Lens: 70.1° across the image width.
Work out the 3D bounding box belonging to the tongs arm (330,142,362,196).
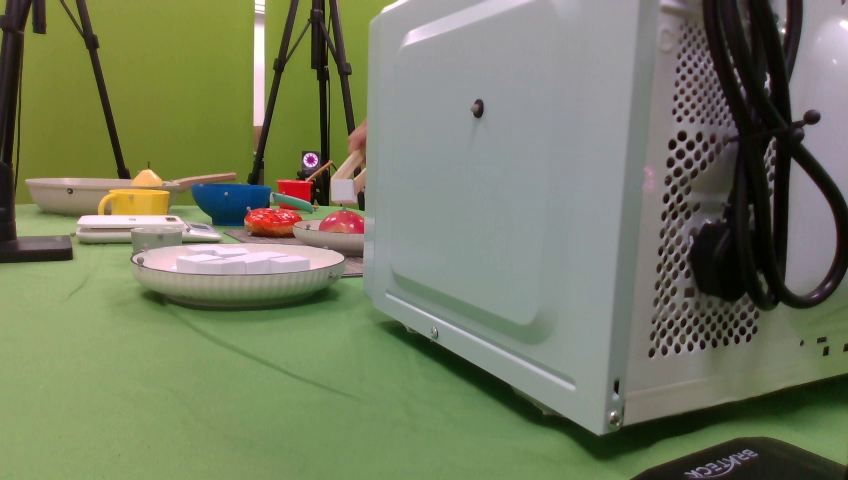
[{"bbox_3d":[-0.108,-0.150,1.066,0.028,0.028,0.387,-8,21,11],"label":"tongs arm"}]

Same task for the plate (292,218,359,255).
[{"bbox_3d":[-0.098,-0.007,0.928,0.209,0.038,0.209,2,8,0],"label":"plate"}]

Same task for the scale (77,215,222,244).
[{"bbox_3d":[-0.434,-0.019,0.963,0.202,0.031,0.148,-1,9,-27],"label":"scale"}]

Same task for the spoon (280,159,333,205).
[{"bbox_3d":[-0.317,-0.159,1.640,0.194,0.022,0.041,-49,32,-20],"label":"spoon"}]

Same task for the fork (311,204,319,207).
[{"bbox_3d":[-0.356,-0.105,1.526,0.208,0.018,0.028,16,-5,-41],"label":"fork"}]

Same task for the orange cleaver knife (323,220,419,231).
[{"bbox_3d":[-0.096,-0.027,1.152,0.077,0.012,0.212,2,7,41],"label":"orange cleaver knife"}]

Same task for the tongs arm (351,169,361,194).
[{"bbox_3d":[-0.085,-0.151,1.063,0.050,0.026,0.385,-3,22,14],"label":"tongs arm"}]

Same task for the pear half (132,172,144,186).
[{"bbox_3d":[-0.638,-0.113,1.361,0.031,0.088,0.070,5,11,4],"label":"pear half"}]

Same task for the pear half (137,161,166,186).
[{"bbox_3d":[-0.602,-0.120,1.354,0.056,0.110,0.076,4,11,6],"label":"pear half"}]

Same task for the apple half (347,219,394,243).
[{"bbox_3d":[-0.084,-0.018,0.967,0.081,0.033,0.081,6,10,-1],"label":"apple half"}]

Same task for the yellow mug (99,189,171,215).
[{"bbox_3d":[-0.519,-0.055,1.080,0.099,0.064,0.131,7,9,26],"label":"yellow mug"}]

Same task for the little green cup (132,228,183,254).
[{"bbox_3d":[-0.342,0.006,0.779,0.061,0.038,0.061,2,8,0],"label":"little green cup"}]

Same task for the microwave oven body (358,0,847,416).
[{"bbox_3d":[0.211,-0.047,0.475,0.444,0.260,0.324,-1,7,-28],"label":"microwave oven body"}]

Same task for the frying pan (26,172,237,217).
[{"bbox_3d":[-0.624,-0.118,1.387,0.305,0.102,0.490,8,17,32],"label":"frying pan"}]

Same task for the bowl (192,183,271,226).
[{"bbox_3d":[-0.382,-0.071,1.202,0.151,0.077,0.151,3,7,0],"label":"bowl"}]

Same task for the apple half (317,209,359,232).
[{"bbox_3d":[-0.122,-0.020,0.900,0.080,0.053,0.075,4,11,15],"label":"apple half"}]

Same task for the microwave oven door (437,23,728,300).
[{"bbox_3d":[0.180,-0.072,0.621,0.358,0.243,0.039,-2,8,-29],"label":"microwave oven door"}]

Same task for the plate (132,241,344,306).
[{"bbox_3d":[-0.187,0.033,0.625,0.208,0.039,0.207,2,8,0],"label":"plate"}]

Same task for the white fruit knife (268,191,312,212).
[{"bbox_3d":[-0.364,-0.105,1.464,0.208,0.027,0.016,15,0,-34],"label":"white fruit knife"}]

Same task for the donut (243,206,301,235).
[{"bbox_3d":[-0.261,-0.032,1.043,0.099,0.048,0.099,4,9,0],"label":"donut"}]

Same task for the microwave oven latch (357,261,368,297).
[{"bbox_3d":[-0.019,0.033,0.531,0.079,0.029,0.030,-1,7,-27],"label":"microwave oven latch"}]
